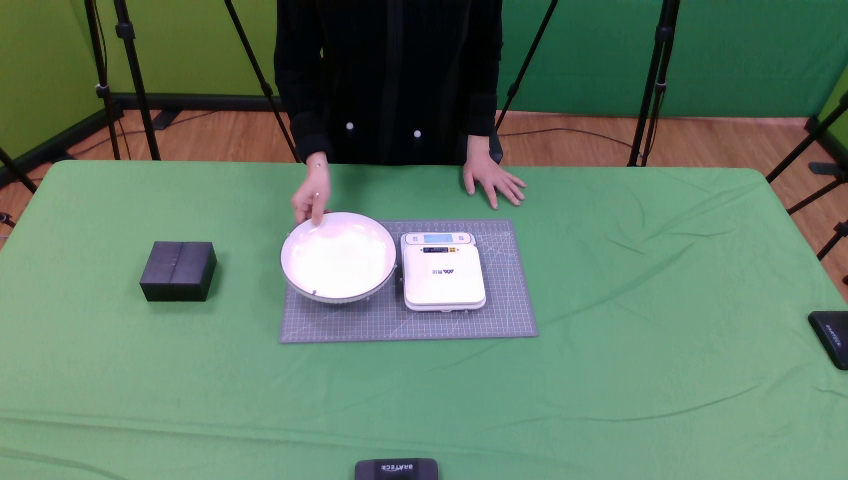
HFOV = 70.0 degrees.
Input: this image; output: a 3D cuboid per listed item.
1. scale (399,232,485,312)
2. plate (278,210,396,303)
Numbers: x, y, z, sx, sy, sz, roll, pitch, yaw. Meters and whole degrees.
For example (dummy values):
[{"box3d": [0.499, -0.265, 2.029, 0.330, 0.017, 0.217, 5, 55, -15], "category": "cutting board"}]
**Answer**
[{"box3d": [0.031, 0.050, 1.141, 0.149, 0.032, 0.199, -1, 46, -5], "category": "scale"}, {"box3d": [-0.155, 0.032, 1.091, 0.209, 0.038, 0.208, 2, 49, -2], "category": "plate"}]
